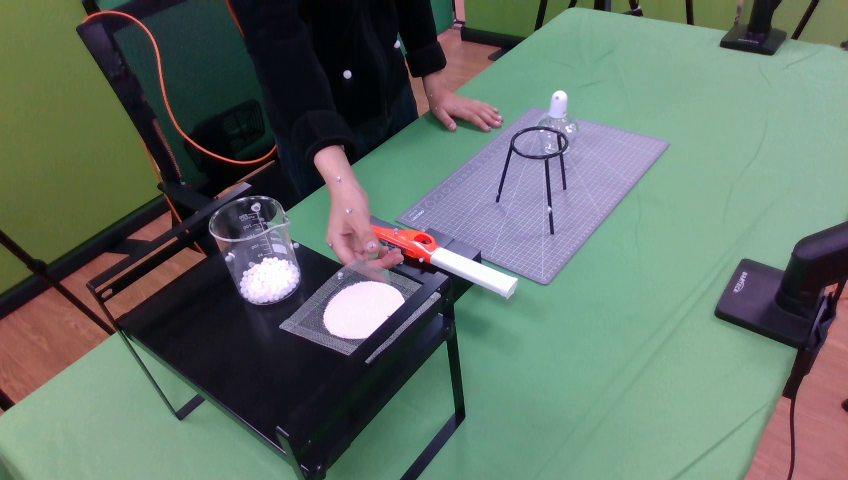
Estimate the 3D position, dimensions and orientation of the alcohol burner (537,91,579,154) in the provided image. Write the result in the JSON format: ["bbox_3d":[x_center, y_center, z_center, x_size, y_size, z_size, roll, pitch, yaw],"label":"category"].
[{"bbox_3d":[0.248,-0.220,1.122,0.078,0.119,0.077,-6,39,5],"label":"alcohol burner"}]

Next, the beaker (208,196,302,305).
[{"bbox_3d":[-0.173,0.014,0.647,0.084,0.101,0.073,-1,41,8],"label":"beaker"}]

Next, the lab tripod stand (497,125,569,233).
[{"bbox_3d":[0.189,-0.104,0.979,0.148,0.132,0.147,-3,41,3],"label":"lab tripod stand"}]

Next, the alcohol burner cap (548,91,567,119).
[{"bbox_3d":[0.245,-0.247,1.098,0.034,0.048,0.033,-1,45,1],"label":"alcohol burner cap"}]

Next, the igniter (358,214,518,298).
[{"bbox_3d":[0.010,0.018,0.876,0.274,0.025,0.057,23,48,28],"label":"igniter"}]

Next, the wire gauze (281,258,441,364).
[{"bbox_3d":[-0.065,0.072,0.633,0.120,0.011,0.125,19,45,31],"label":"wire gauze"}]
